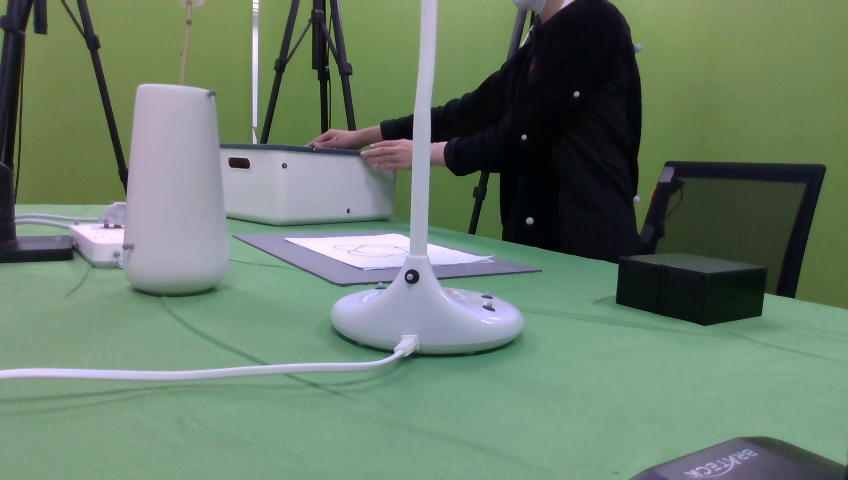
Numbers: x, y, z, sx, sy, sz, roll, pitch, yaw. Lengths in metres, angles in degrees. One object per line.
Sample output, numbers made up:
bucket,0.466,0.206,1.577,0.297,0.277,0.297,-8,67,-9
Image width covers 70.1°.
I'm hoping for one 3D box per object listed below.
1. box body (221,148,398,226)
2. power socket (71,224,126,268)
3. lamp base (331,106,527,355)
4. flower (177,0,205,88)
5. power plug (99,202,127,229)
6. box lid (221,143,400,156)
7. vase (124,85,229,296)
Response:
box body,-0.264,-0.129,1.380,0.253,0.160,0.366,8,9,39
power socket,-0.409,0.004,0.793,0.072,0.032,0.225,-2,8,-37
lamp base,0.006,-0.012,0.478,0.161,0.180,0.179,2,10,2
flower,-0.243,-0.131,0.609,0.044,0.361,0.038,-5,-12,12
power plug,-0.415,-0.026,0.848,0.073,0.052,0.035,6,5,-28
box lid,-0.263,-0.202,1.369,0.262,0.015,0.373,8,10,39
vase,-0.244,-0.047,0.598,0.098,0.200,0.098,3,8,0
